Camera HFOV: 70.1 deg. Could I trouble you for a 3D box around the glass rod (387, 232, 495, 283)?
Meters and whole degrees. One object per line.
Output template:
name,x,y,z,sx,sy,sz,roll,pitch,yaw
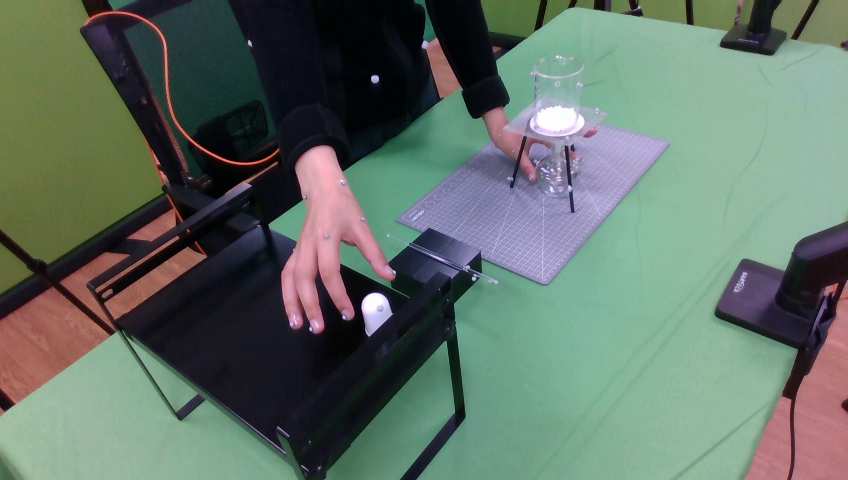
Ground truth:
glass rod,0.020,0.024,0.880,0.198,0.008,0.008,24,49,32

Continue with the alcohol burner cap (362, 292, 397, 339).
alcohol burner cap,-0.045,0.072,0.602,0.034,0.048,0.033,-3,43,3

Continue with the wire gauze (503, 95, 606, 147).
wire gauze,0.212,-0.191,0.976,0.120,0.011,0.125,24,52,33

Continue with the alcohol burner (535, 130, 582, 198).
alcohol burner,0.227,-0.131,1.021,0.078,0.119,0.077,-6,40,6

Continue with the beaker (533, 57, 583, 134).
beaker,0.208,-0.225,0.941,0.073,0.101,0.084,11,44,20

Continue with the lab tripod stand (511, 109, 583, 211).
lab tripod stand,0.220,-0.138,1.015,0.148,0.132,0.147,-3,41,3
